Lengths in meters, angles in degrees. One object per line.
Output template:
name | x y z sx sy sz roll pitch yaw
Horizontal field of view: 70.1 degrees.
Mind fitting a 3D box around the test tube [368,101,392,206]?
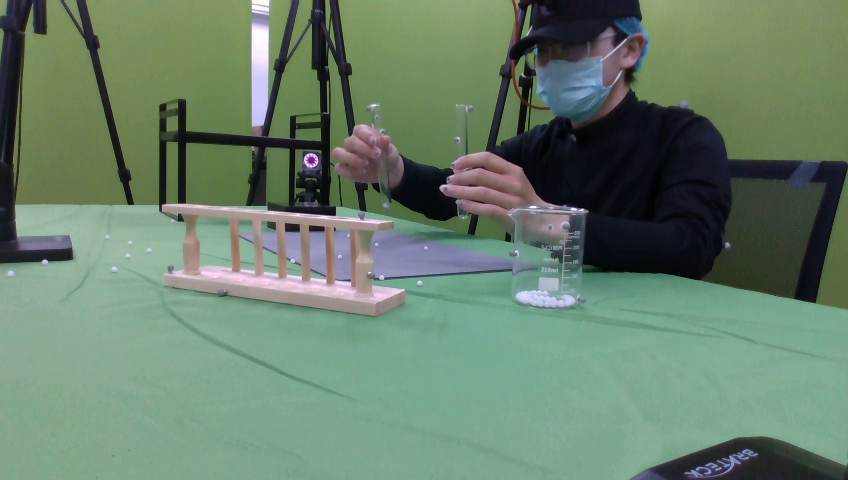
test tube | -0.061 -0.120 0.859 0.017 0.150 0.017 -6 18 2

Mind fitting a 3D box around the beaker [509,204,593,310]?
beaker | 0.125 0.016 0.613 0.084 0.100 0.074 1 7 -5

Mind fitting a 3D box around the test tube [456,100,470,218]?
test tube | 0.051 -0.103 0.777 0.017 0.150 0.017 -2 10 1

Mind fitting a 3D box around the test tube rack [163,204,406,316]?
test tube rack | -0.141 0.013 0.601 0.241 0.085 0.067 5 8 21
